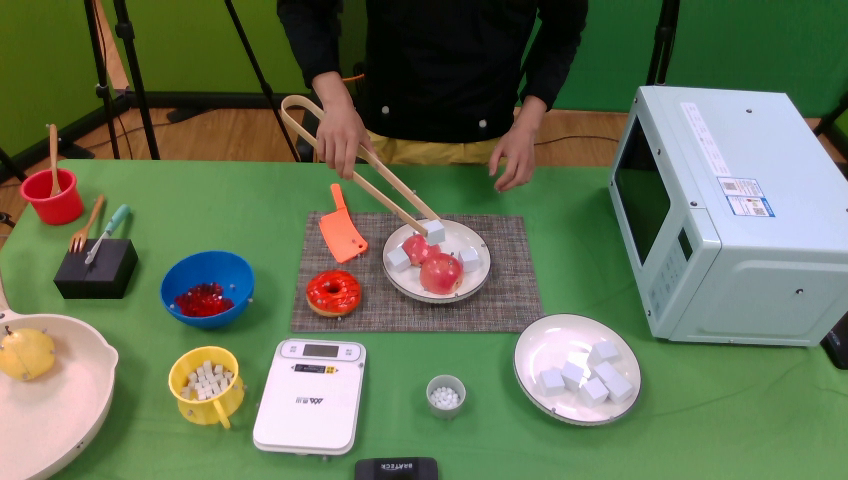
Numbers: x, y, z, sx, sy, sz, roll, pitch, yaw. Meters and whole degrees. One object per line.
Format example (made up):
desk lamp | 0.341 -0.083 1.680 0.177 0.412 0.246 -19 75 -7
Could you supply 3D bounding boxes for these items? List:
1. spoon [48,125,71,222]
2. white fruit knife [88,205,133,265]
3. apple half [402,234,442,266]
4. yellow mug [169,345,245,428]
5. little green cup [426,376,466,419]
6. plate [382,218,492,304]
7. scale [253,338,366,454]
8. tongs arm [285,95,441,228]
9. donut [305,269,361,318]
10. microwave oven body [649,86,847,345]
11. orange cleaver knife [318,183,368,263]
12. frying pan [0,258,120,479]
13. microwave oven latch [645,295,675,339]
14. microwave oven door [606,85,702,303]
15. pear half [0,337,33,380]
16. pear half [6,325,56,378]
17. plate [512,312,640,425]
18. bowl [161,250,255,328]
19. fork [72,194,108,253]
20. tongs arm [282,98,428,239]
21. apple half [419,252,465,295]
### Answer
spoon | -0.718 -0.131 1.188 0.041 0.021 0.193 -3 90 -7
white fruit knife | -0.584 -0.013 1.129 0.016 0.027 0.206 0 32 -5
apple half | -0.004 0.014 1.159 0.081 0.033 0.081 5 44 -4
yellow mug | -0.322 0.230 0.922 0.100 0.064 0.130 -24 53 -25
little green cup | 0.033 0.248 0.950 0.061 0.039 0.061 2 46 -2
plate | 0.024 0.042 1.143 0.209 0.038 0.208 2 46 -2
scale | -0.175 0.236 0.951 0.149 0.032 0.199 5 45 -1
tongs arm | -0.119 -0.147 1.120 0.051 0.026 0.383 -37 72 -26
donut | -0.160 0.094 1.075 0.099 0.048 0.098 4 45 -4
microwave oven body | 0.567 -0.053 1.118 0.326 0.261 0.439 2 45 -1
orange cleaver knife | -0.173 -0.038 1.218 0.077 0.012 0.210 -17 51 -11
frying pan | -0.647 0.164 0.936 0.307 0.103 0.485 -19 58 -22
microwave oven latch | 0.412 0.134 1.061 0.030 0.029 0.078 3 45 0
microwave oven door | 0.423 -0.094 1.140 0.039 0.245 0.353 2 46 -1
pear half | -0.631 0.184 0.921 0.070 0.088 0.031 29 49 19
pear half | -0.608 0.158 0.935 0.076 0.110 0.056 31 51 20
plate | 0.246 0.213 0.999 0.208 0.039 0.206 2 46 -2
bowl | -0.362 0.098 1.039 0.151 0.077 0.150 2 45 -2
fork | -0.634 -0.036 1.158 0.028 0.019 0.206 -8 32 -8
tongs arm | -0.135 -0.132 1.108 0.386 0.028 0.028 41 65 14
apple half | 0.035 0.056 1.109 0.074 0.053 0.081 38 55 25
